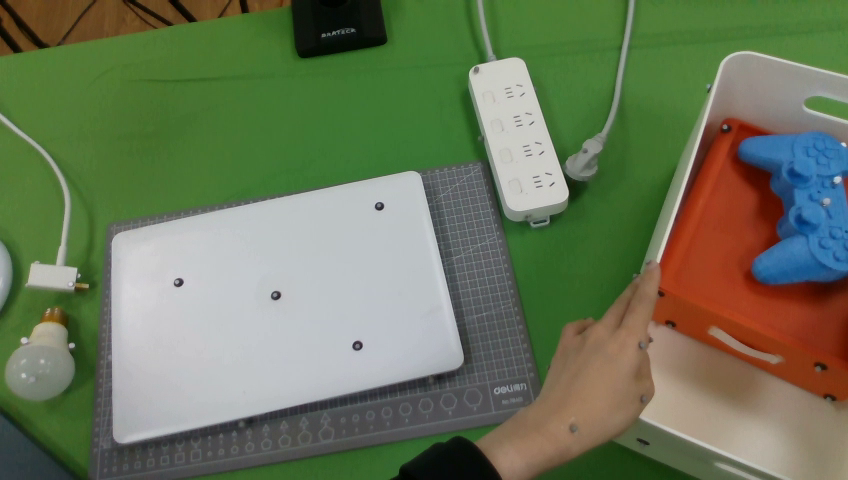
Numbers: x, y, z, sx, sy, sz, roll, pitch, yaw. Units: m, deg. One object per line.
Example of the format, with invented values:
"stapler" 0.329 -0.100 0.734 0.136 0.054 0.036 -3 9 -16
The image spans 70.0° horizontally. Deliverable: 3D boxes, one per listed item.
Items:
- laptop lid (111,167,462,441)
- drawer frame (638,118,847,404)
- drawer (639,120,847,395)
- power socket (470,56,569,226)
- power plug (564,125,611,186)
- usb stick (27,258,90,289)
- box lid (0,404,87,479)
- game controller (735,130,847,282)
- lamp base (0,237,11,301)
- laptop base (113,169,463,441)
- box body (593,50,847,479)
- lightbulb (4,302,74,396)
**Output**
"laptop lid" -0.154 0.056 0.636 0.357 0.013 0.239 -11 67 0
"drawer frame" 0.339 0.013 0.588 0.201 0.083 0.213 26 66 14
"drawer" 0.341 0.012 0.586 0.193 0.074 0.211 25 72 17
"power socket" 0.107 -0.123 0.704 0.072 0.033 0.224 -11 65 -2
"power plug" 0.189 -0.091 0.680 0.072 0.053 0.035 -27 60 -27
"usb stick" -0.398 0.038 0.662 0.059 0.021 0.027 14 67 -26
"box lid" -0.391 0.337 0.542 0.369 0.015 0.262 30 71 16
"game controller" 0.348 -0.035 0.555 0.097 0.052 0.154 7 66 2
"lamp base" -0.557 0.008 0.612 0.160 0.182 0.177 -36 65 -12
"laptop base" -0.154 0.059 0.647 0.354 0.023 0.233 -12 68 -1
"box body" 0.326 0.044 0.539 0.253 0.161 0.362 21 69 13
"lightbulb" -0.391 0.109 0.626 0.059 0.060 0.106 -12 49 -1
